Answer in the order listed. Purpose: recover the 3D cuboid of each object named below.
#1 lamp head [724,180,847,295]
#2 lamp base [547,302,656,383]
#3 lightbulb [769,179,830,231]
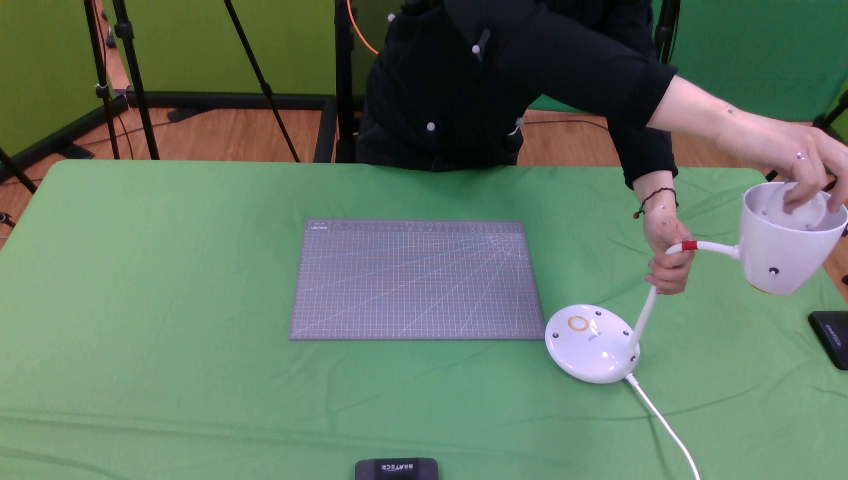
[{"bbox_3d":[0.428,0.003,0.727,0.112,0.123,0.111,0,39,0],"label":"lamp head"},{"bbox_3d":[0.304,0.127,0.982,0.160,0.181,0.178,-33,59,-29],"label":"lamp base"},{"bbox_3d":[0.430,-0.021,0.704,0.059,0.108,0.059,-7,41,6],"label":"lightbulb"}]
